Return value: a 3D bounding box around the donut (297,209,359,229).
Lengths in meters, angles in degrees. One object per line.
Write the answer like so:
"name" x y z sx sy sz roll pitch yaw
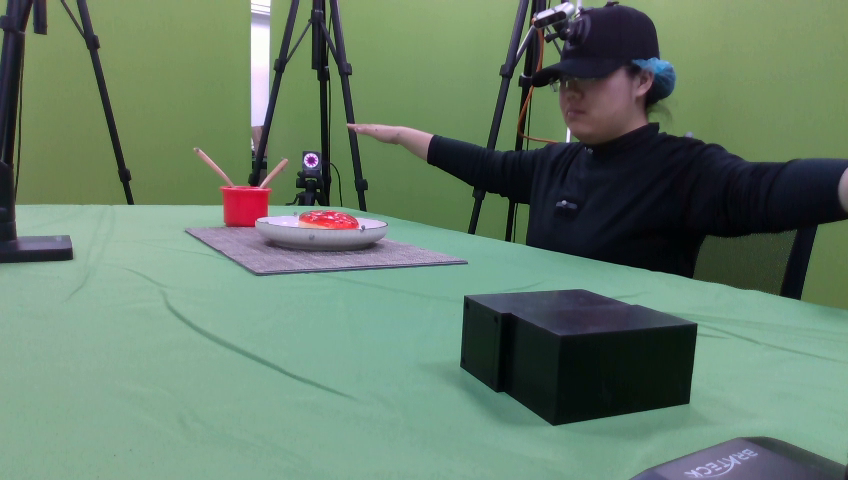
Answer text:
"donut" -0.151 -0.023 0.955 0.099 0.048 0.099 6 7 0

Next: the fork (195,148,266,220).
"fork" -0.386 -0.110 1.199 0.028 0.207 0.018 -38 -6 -39

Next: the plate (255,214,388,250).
"plate" -0.161 -0.013 0.961 0.209 0.038 0.209 2 7 0

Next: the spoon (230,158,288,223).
"spoon" -0.322 -0.101 1.206 0.041 0.022 0.194 13 55 22
